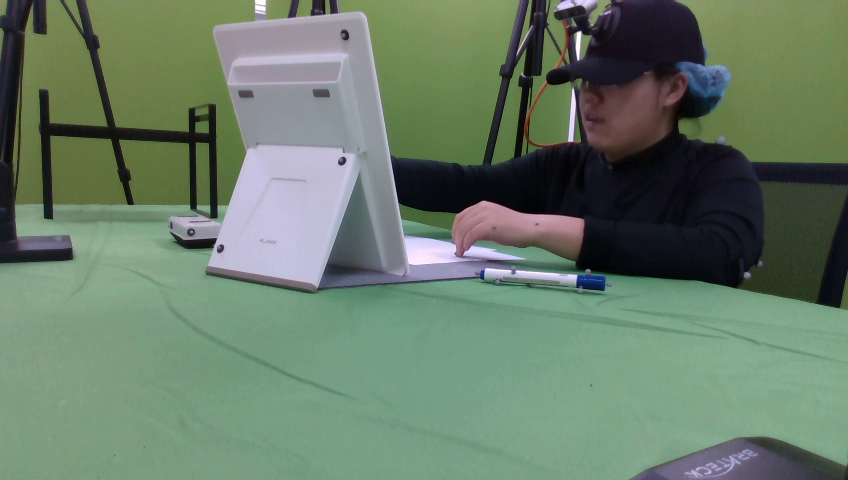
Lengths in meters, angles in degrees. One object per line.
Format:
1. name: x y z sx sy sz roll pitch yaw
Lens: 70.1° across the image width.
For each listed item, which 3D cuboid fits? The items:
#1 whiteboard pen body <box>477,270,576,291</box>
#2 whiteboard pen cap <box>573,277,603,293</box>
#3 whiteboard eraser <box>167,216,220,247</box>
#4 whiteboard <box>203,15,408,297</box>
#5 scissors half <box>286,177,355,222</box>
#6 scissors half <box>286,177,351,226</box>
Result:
1. whiteboard pen body: 0.131 0.048 0.706 0.140 0.017 0.017 4 7 18
2. whiteboard pen cap: 0.186 0.051 0.687 0.033 0.018 0.018 4 8 17
3. whiteboard eraser: -0.350 -0.013 0.919 0.056 0.042 0.112 0 7 -35
4. whiteboard: -0.166 -0.072 0.668 0.216 0.305 0.144 8 30 30
5. scissors half: -0.229 -0.091 1.336 0.175 0.013 0.040 32 15 -14
6. scissors half: -0.232 -0.085 1.317 0.175 0.013 0.040 37 19 4
